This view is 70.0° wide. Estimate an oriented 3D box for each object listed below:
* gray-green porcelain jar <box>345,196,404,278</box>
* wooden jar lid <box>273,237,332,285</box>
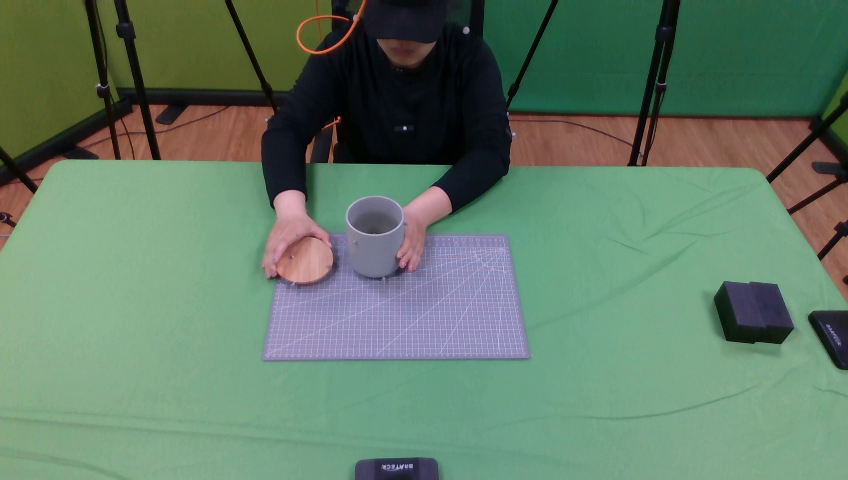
[{"bbox_3d":[-0.091,-0.001,1.117,0.106,0.127,0.105,2,46,-2],"label":"gray-green porcelain jar"},{"bbox_3d":[-0.226,0.041,1.135,0.108,0.021,0.107,4,51,-4],"label":"wooden jar lid"}]
